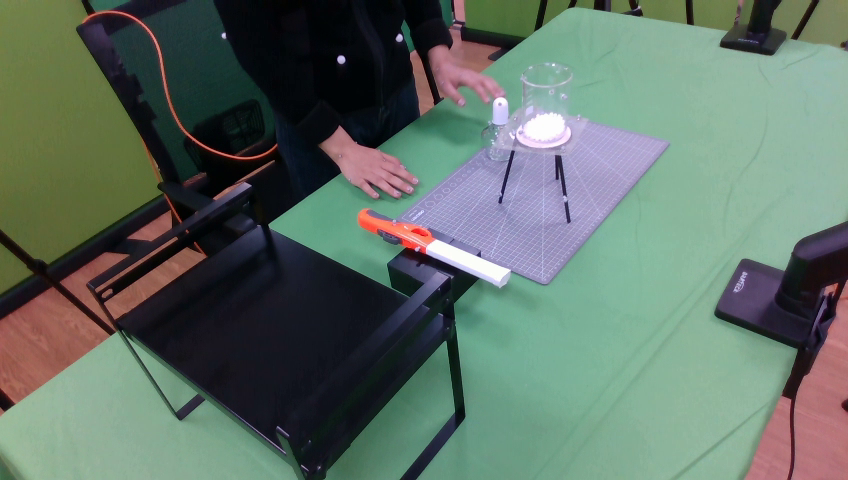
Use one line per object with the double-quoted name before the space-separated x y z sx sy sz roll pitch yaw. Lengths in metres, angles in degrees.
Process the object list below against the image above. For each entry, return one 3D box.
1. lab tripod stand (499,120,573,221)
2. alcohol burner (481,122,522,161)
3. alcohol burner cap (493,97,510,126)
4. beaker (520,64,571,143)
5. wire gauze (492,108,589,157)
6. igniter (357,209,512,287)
"lab tripod stand" 0.198 -0.117 0.992 0.148 0.132 0.147 -3 40 3
"alcohol burner" 0.143 -0.208 1.124 0.078 0.119 0.077 -6 39 5
"alcohol burner cap" 0.141 -0.236 1.101 0.034 0.048 0.033 -4 39 4
"beaker" 0.187 -0.208 0.924 0.073 0.101 0.084 23 49 30
"wire gauze" 0.185 -0.169 0.954 0.121 0.011 0.125 13 46 22
"igniter" 0.004 0.006 0.891 0.274 0.025 0.057 23 37 30
